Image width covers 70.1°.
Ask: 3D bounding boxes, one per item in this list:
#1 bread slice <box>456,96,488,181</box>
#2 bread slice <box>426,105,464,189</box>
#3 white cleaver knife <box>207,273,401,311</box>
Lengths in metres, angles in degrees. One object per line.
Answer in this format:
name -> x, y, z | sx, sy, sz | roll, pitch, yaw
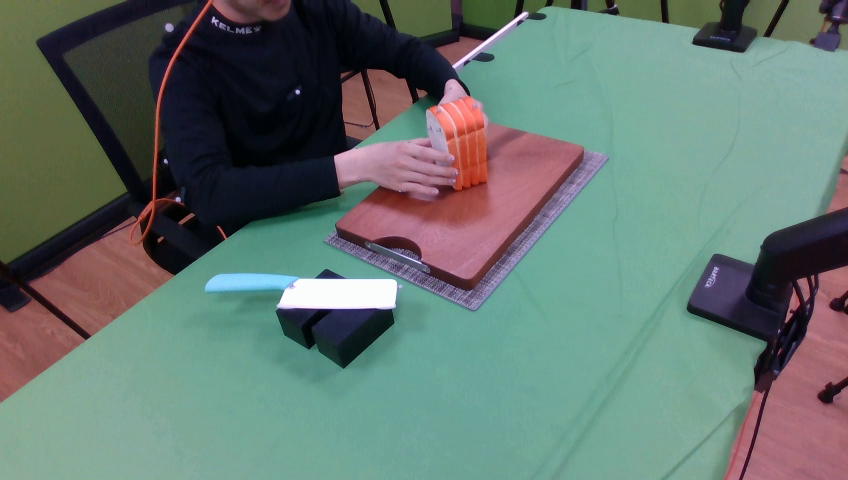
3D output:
bread slice -> 0.082, -0.177, 1.035 | 0.018, 0.135, 0.106 | -17, 44, -12
bread slice -> 0.033, -0.163, 1.026 | 0.019, 0.132, 0.104 | -22, 41, -9
white cleaver knife -> -0.173, 0.071, 0.846 | 0.286, 0.021, 0.065 | 0, 40, 11
